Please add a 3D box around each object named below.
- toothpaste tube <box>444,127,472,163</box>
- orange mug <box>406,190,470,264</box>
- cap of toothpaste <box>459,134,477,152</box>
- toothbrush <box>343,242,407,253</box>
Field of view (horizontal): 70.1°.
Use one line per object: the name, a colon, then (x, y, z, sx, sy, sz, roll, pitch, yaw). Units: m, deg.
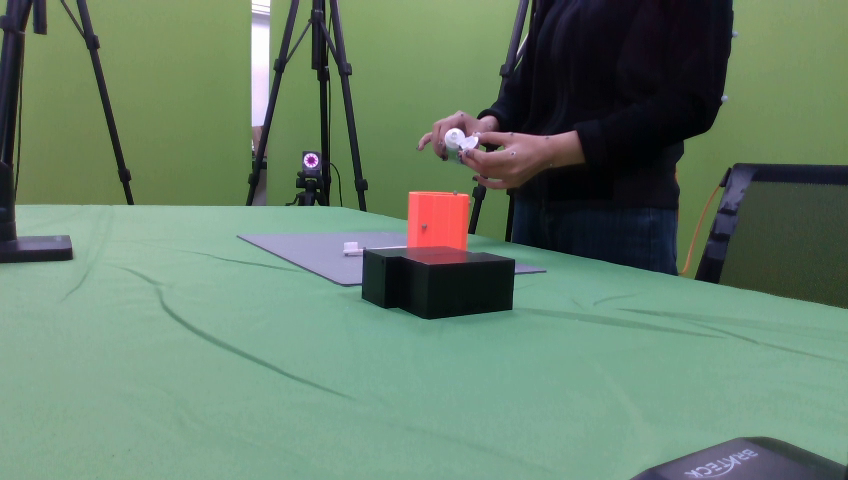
toothpaste tube: (0.060, -0.165, 1.078, 0.055, 0.034, 0.165, 19, -6, 6)
orange mug: (0.027, -0.023, 0.866, 0.083, 0.101, 0.126, 6, 12, 24)
cap of toothpaste: (0.070, -0.161, 0.989, 0.011, 0.037, 0.037, 44, -11, -23)
toothbrush: (-0.039, 0.010, 0.905, 0.183, 0.016, 0.014, -1, -7, -36)
